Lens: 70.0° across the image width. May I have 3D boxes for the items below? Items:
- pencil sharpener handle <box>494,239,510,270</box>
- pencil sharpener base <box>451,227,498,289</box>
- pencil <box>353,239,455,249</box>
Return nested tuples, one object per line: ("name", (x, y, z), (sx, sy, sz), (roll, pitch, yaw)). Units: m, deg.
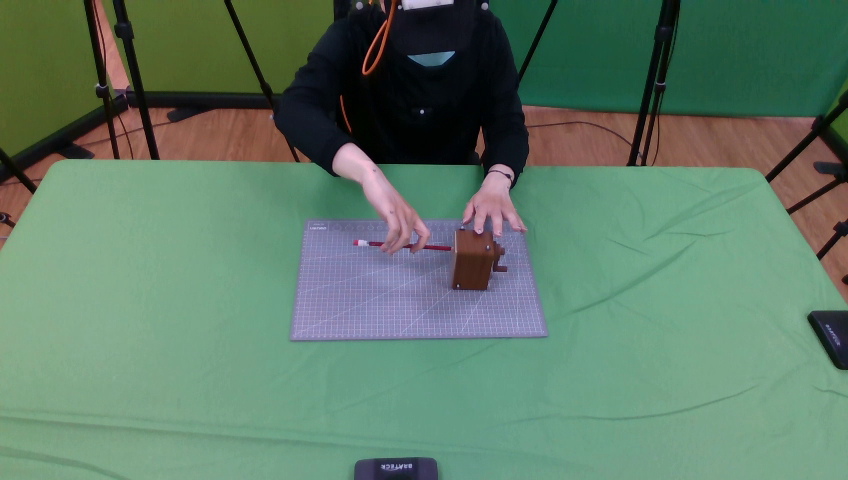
("pencil sharpener handle", (0.143, 0.029, 1.094), (0.030, 0.068, 0.036), (3, 42, -1))
("pencil sharpener base", (0.092, 0.035, 1.103), (0.077, 0.107, 0.061), (3, 46, -1))
("pencil", (-0.029, 0.008, 1.081), (0.194, 0.012, 0.012), (3, 47, -1))
